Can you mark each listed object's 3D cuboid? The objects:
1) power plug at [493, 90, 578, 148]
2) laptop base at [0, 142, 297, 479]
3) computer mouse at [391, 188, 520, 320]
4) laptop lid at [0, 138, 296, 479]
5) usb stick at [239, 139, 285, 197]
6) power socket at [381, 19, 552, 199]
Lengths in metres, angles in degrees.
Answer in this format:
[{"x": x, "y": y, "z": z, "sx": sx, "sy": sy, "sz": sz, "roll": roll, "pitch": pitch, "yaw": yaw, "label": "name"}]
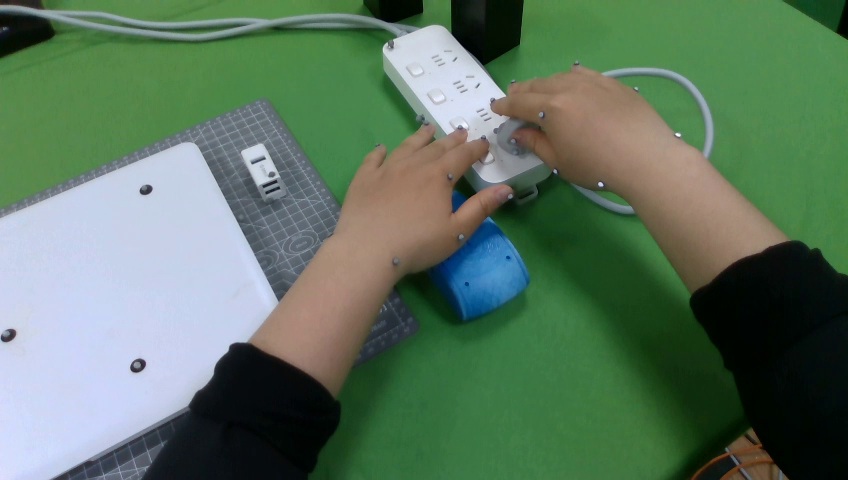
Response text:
[{"x": 0.094, "y": -0.093, "z": 0.505, "sx": 0.073, "sy": 0.053, "sz": 0.035, "roll": -6, "pitch": 49, "yaw": -7, "label": "power plug"}, {"x": -0.296, "y": 0.073, "z": 0.447, "sx": 0.354, "sy": 0.023, "sz": 0.233, "roll": -27, "pitch": 62, "yaw": -15, "label": "laptop base"}, {"x": 0.023, "y": 0.005, "z": 0.468, "sx": 0.063, "sy": 0.041, "sz": 0.116, "roll": -21, "pitch": 58, "yaw": -16, "label": "computer mouse"}, {"x": -0.296, "y": 0.067, "z": 0.437, "sx": 0.357, "sy": 0.013, "sz": 0.239, "roll": -26, "pitch": 61, "yaw": -14, "label": "laptop lid"}, {"x": -0.142, "y": -0.067, "z": 0.524, "sx": 0.021, "sy": 0.027, "sz": 0.058, "roll": -27, "pitch": 56, "yaw": -12, "label": "usb stick"}, {"x": 0.033, "y": -0.126, "z": 0.553, "sx": 0.072, "sy": 0.033, "sz": 0.224, "roll": -25, "pitch": 58, "yaw": -12, "label": "power socket"}]
